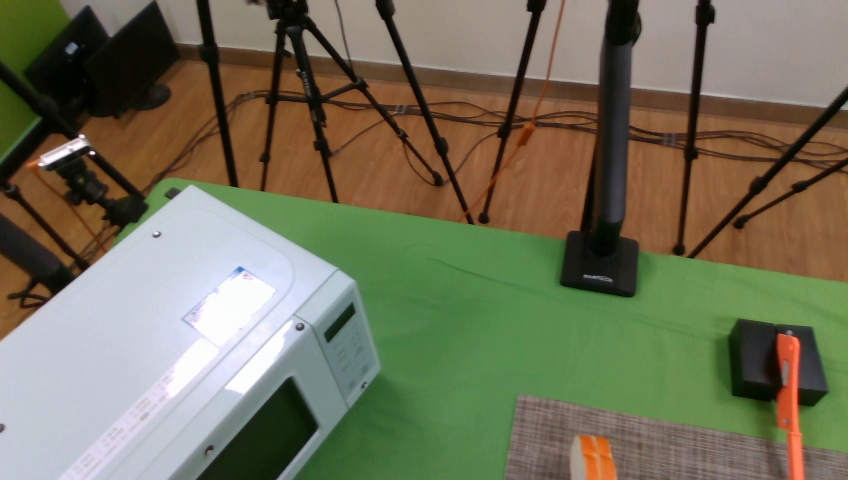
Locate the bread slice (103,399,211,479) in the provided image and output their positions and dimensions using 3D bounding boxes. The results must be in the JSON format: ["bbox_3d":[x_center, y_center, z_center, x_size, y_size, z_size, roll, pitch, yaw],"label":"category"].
[{"bbox_3d":[-0.350,0.274,0.803,0.134,0.018,0.106,-8,50,-14],"label":"bread slice"}]

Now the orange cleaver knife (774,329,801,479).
[{"bbox_3d":[0.482,0.219,0.807,0.012,0.078,0.210,4,73,12],"label":"orange cleaver knife"}]

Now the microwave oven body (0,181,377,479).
[{"bbox_3d":[-0.328,0.193,0.786,0.323,0.262,0.440,28,60,24],"label":"microwave oven body"}]

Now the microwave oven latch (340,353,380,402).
[{"bbox_3d":[-0.097,0.196,0.885,0.030,0.030,0.079,29,61,24],"label":"microwave oven latch"}]

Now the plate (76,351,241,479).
[{"bbox_3d":[-0.349,0.249,0.814,0.208,0.039,0.205,0,50,0],"label":"plate"}]

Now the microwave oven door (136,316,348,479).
[{"bbox_3d":[-0.235,0.278,0.704,0.039,0.246,0.355,27,59,25],"label":"microwave oven door"}]
